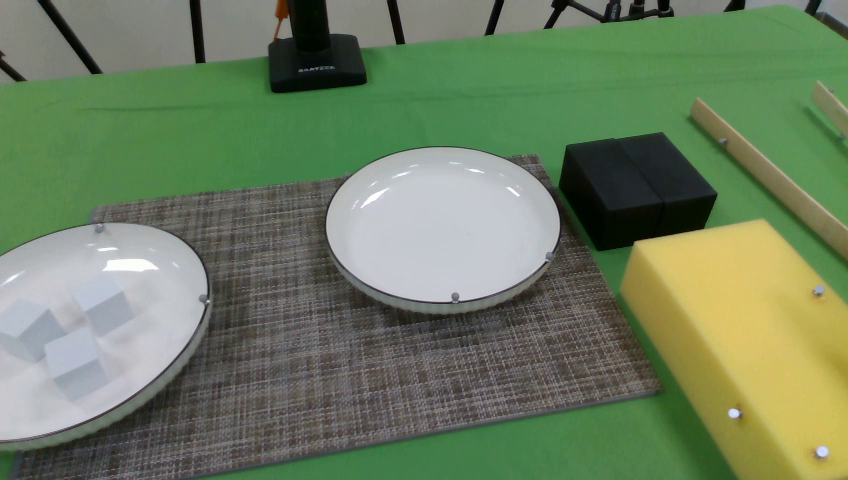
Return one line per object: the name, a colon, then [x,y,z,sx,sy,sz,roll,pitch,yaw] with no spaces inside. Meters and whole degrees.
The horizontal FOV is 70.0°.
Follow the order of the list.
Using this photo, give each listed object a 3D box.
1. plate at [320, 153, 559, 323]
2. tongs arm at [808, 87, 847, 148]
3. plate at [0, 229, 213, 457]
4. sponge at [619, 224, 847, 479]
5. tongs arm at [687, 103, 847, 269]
plate: [0.013,-0.003,0.542,0.208,0.039,0.205,0,43,0]
tongs arm: [0.452,-0.037,0.582,0.051,0.027,0.380,-4,45,-3]
plate: [-0.265,0.073,0.462,0.209,0.038,0.207,0,43,0]
sponge: [0.247,0.085,0.437,0.118,0.061,0.204,-11,45,-10]
tongs arm: [0.371,-0.024,0.575,0.028,0.028,0.383,-11,45,-14]
